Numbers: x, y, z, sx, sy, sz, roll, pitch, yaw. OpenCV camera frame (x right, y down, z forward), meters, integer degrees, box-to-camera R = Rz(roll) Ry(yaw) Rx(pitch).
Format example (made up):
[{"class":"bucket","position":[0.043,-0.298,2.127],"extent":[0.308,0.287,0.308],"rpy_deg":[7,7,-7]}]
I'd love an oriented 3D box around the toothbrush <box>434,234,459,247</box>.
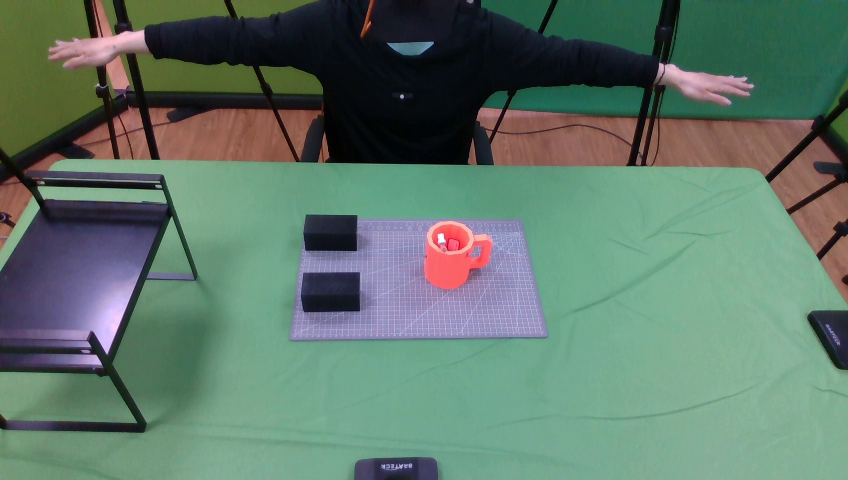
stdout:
[{"class":"toothbrush","position":[0.042,0.003,1.069],"extent":[0.016,0.182,0.014],"rpy_deg":[37,96,11]}]

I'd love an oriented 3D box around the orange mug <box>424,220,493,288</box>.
[{"class":"orange mug","position":[0.064,0.023,1.119],"extent":[0.126,0.101,0.083],"rpy_deg":[-9,47,-6]}]
